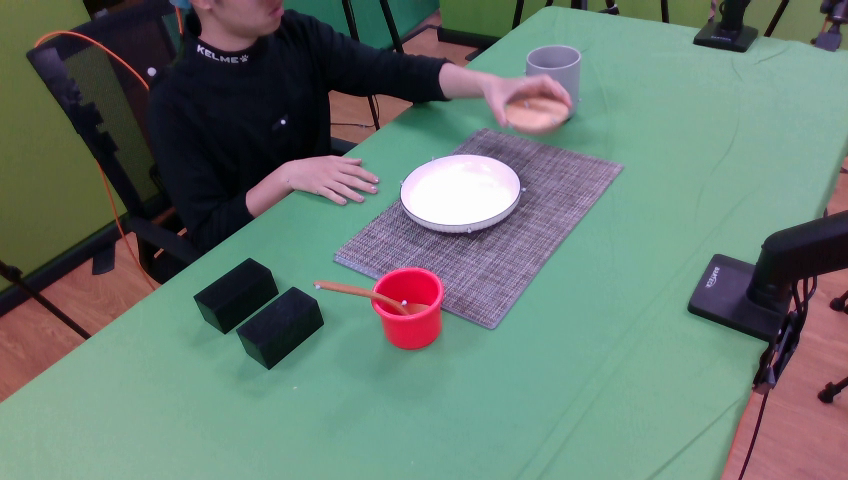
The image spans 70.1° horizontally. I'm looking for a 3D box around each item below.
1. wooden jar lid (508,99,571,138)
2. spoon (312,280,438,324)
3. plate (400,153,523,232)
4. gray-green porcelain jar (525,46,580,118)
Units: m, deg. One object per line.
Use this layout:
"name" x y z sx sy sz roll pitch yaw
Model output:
"wooden jar lid" 0.200 -0.210 1.053 0.108 0.021 0.108 -5 43 6
"spoon" -0.060 0.078 0.793 0.195 0.021 0.041 24 25 -35
"plate" 0.065 -0.078 1.034 0.207 0.039 0.206 -4 41 4
"gray-green porcelain jar" 0.256 -0.305 1.209 0.106 0.127 0.105 -4 41 4
